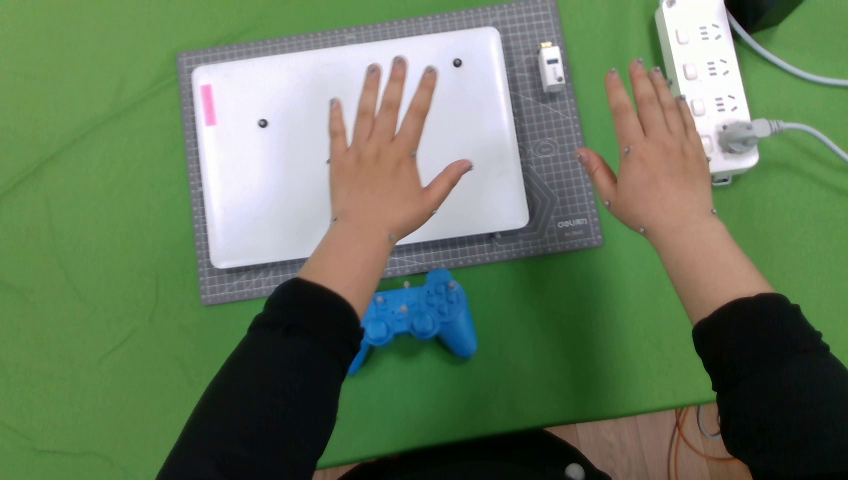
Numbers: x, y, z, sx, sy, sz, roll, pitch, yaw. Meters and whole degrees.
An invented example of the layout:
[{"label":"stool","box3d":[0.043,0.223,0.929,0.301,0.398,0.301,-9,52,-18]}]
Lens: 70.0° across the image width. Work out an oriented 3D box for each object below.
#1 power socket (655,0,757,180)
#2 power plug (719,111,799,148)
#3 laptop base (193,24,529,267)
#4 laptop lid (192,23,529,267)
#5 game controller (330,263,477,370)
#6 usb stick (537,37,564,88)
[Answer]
[{"label":"power socket","box3d":[0.314,-0.181,0.679,0.072,0.033,0.226,-8,82,1]},{"label":"power plug","box3d":[0.354,-0.116,0.650,0.072,0.053,0.035,3,81,-2]},{"label":"laptop base","box3d":[-0.074,-0.109,0.684,0.354,0.023,0.235,-9,85,0]},{"label":"laptop lid","box3d":[-0.074,-0.108,0.673,0.357,0.013,0.241,-7,84,0]},{"label":"game controller","box3d":[-0.025,0.079,0.643,0.155,0.052,0.096,-8,77,0]},{"label":"usb stick","box3d":[0.142,-0.206,0.687,0.021,0.027,0.059,-9,79,3]}]
